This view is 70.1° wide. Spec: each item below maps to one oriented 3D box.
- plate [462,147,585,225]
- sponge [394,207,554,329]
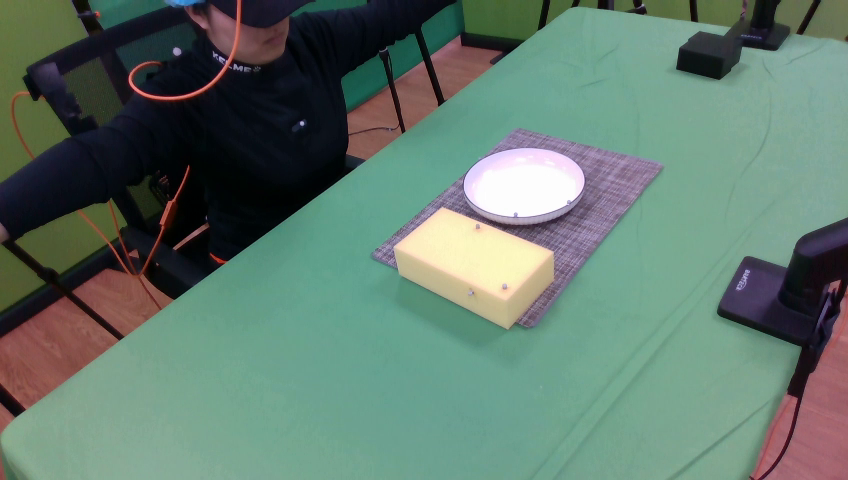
[{"bbox_3d":[0.170,-0.089,1.041,0.207,0.039,0.206,-5,40,5],"label":"plate"},{"bbox_3d":[0.073,0.035,0.895,0.205,0.061,0.118,24,50,33],"label":"sponge"}]
